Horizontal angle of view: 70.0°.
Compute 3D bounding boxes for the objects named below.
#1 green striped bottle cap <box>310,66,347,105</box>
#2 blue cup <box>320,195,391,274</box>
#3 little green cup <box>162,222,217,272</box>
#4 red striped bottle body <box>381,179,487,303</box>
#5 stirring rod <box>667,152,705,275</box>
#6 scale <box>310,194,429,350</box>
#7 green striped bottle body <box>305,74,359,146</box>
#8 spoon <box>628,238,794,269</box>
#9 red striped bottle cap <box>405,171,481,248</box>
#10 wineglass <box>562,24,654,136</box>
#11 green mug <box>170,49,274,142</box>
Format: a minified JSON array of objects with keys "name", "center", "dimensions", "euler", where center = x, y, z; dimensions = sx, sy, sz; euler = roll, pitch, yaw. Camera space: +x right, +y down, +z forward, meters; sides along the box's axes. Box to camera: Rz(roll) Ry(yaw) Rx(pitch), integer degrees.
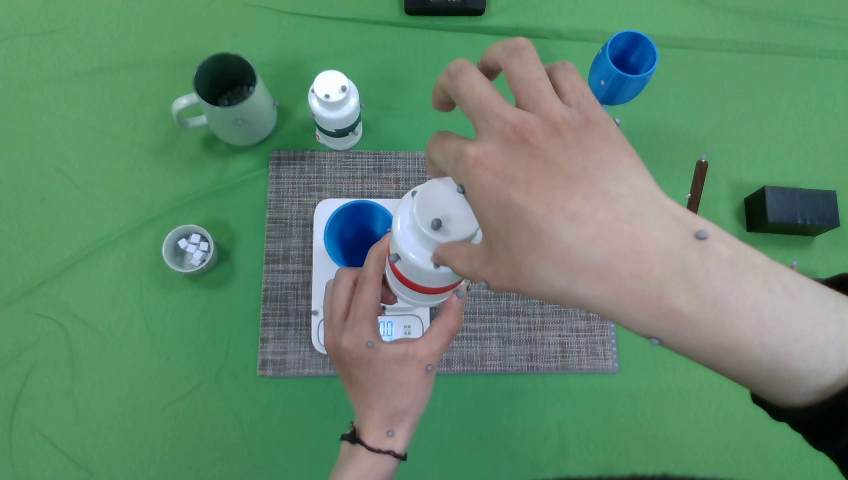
[{"name":"green striped bottle cap","center":[-0.116,-0.188,0.734],"dimensions":[0.044,0.020,0.044],"euler":[1,74,-4]},{"name":"blue cup","center":[-0.074,0.002,0.717],"dimensions":[0.093,0.100,0.092],"euler":[1,78,-3]},{"name":"little green cup","center":[-0.294,0.011,0.768],"dimensions":[0.061,0.039,0.061],"euler":[1,75,-4]},{"name":"red striped bottle body","center":[0.005,0.000,0.415],"dimensions":[0.063,0.120,0.062],"euler":[3,70,-7]},{"name":"stirring rod","center":[0.327,-0.028,0.760],"dimensions":[0.014,0.177,0.006],"euler":[5,34,11]},{"name":"scale","center":[-0.070,0.038,0.776],"dimensions":[0.149,0.031,0.200],"euler":[-1,76,-3]},{"name":"green striped bottle body","center":[-0.118,-0.174,0.784],"dimensions":[0.063,0.119,0.063],"euler":[1,75,-3]},{"name":"spoon","center":[0.347,0.022,0.749],"dimensions":[0.022,0.192,0.041],"euler":[21,79,-43]},{"name":"red striped bottle cap","center":[0.012,-0.019,0.364],"dimensions":[0.045,0.018,0.044],"euler":[3,74,-11]},{"name":"wineglass","center":[0.233,-0.201,0.785],"dimensions":[0.074,0.173,0.073],"euler":[1,75,-2]},{"name":"green mug","center":[-0.263,-0.179,0.785],"dimensions":[0.125,0.105,0.092],"euler":[-22,78,-8]}]
